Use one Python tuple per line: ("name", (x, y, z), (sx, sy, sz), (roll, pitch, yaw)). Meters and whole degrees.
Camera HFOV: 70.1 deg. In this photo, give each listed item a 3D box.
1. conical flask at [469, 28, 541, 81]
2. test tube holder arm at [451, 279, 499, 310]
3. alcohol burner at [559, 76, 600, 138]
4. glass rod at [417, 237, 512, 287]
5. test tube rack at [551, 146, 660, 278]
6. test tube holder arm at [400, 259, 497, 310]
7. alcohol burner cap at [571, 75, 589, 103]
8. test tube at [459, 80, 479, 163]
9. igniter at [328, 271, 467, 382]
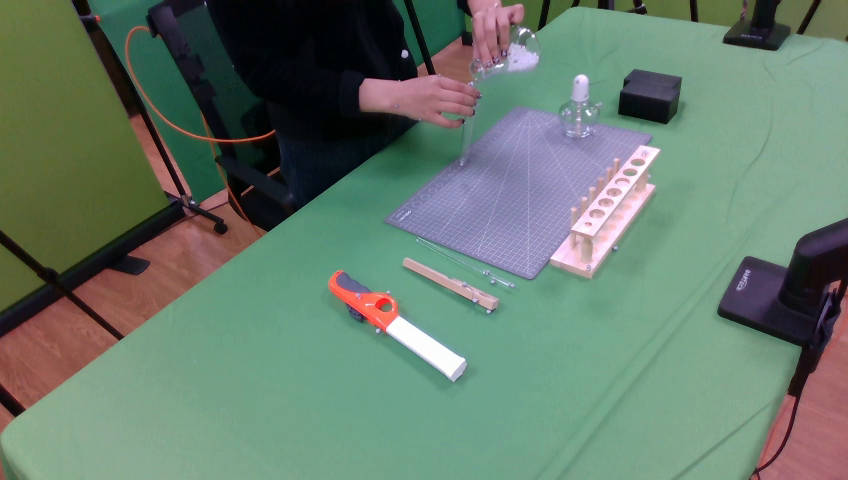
("conical flask", (0.135, -0.310, 1.039), (0.122, 0.075, 0.074), (-29, 44, -24))
("test tube holder arm", (0.071, 0.079, 0.882), (0.087, 0.015, 0.010), (23, 14, 34))
("alcohol burner", (0.298, -0.258, 1.156), (0.078, 0.119, 0.077), (-4, 39, 4))
("glass rod", (0.059, 0.032, 0.945), (0.198, 0.008, 0.008), (26, 52, 38))
("test tube rack", (0.286, -0.053, 0.943), (0.066, 0.085, 0.243), (21, 49, 32))
("test tube holder arm", (0.033, 0.064, 0.902), (0.177, 0.015, 0.013), (23, 14, 32))
("alcohol burner cap", (0.294, -0.285, 1.132), (0.034, 0.048, 0.033), (-4, 46, 5))
("test tube", (0.079, -0.206, 1.060), (0.017, 0.150, 0.017), (5, 31, -3))
("igniter", (-0.049, 0.114, 0.854), (0.274, 0.025, 0.057), (30, 63, 37))
